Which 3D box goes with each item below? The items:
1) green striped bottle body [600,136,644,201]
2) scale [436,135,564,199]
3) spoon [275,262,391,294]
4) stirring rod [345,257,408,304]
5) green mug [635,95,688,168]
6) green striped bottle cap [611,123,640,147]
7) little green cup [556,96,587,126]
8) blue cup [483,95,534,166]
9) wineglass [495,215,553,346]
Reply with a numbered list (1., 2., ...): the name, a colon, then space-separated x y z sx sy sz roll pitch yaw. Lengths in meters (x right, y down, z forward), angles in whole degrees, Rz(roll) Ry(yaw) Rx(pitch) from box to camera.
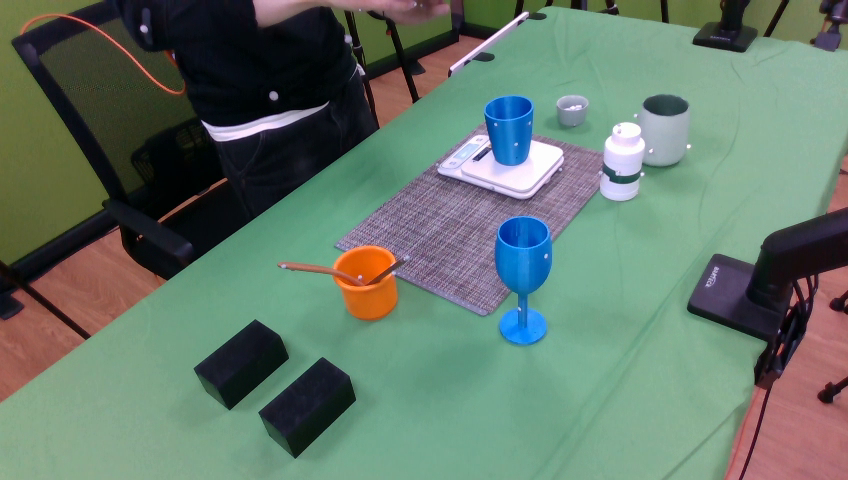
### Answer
1. green striped bottle body: 0.326 -0.128 0.997 0.063 0.120 0.063 -4 41 4
2. scale: 0.137 -0.142 1.101 0.199 0.032 0.149 22 48 30
3. spoon: -0.120 0.050 0.830 0.041 0.195 0.021 32 97 45
4. stirring rod: -0.067 0.057 0.815 0.014 0.175 0.006 -25 82 -38
5. green mug: 0.421 -0.201 1.081 0.092 0.105 0.125 5 42 15
6. green striped bottle cap: 0.322 -0.168 0.963 0.044 0.020 0.044 -3 42 3
7. little green cup: 0.295 -0.258 1.214 0.061 0.039 0.061 -4 42 4
8. blue cup: 0.150 -0.186 1.051 0.092 0.101 0.092 -6 41 6
9. wineglass: 0.127 0.055 0.770 0.074 0.173 0.073 -4 40 4
